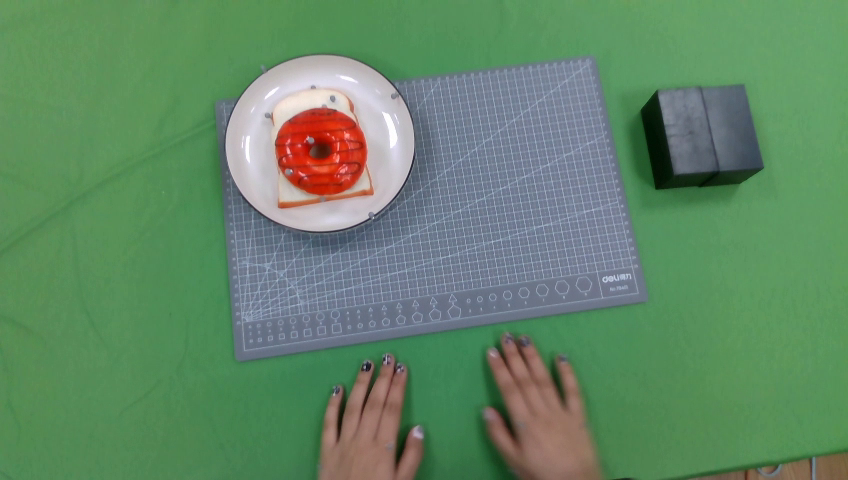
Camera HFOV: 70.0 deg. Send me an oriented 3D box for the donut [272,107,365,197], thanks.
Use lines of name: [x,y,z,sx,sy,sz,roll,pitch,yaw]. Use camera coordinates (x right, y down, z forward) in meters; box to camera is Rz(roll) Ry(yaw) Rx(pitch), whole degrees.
donut: [-0.112,-0.093,0.645,0.099,0.048,0.098,1,79,-5]

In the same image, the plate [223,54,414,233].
plate: [-0.115,-0.105,0.676,0.209,0.038,0.208,1,77,-2]

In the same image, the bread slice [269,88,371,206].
bread slice: [-0.123,-0.108,0.678,0.105,0.019,0.131,-10,78,-6]
